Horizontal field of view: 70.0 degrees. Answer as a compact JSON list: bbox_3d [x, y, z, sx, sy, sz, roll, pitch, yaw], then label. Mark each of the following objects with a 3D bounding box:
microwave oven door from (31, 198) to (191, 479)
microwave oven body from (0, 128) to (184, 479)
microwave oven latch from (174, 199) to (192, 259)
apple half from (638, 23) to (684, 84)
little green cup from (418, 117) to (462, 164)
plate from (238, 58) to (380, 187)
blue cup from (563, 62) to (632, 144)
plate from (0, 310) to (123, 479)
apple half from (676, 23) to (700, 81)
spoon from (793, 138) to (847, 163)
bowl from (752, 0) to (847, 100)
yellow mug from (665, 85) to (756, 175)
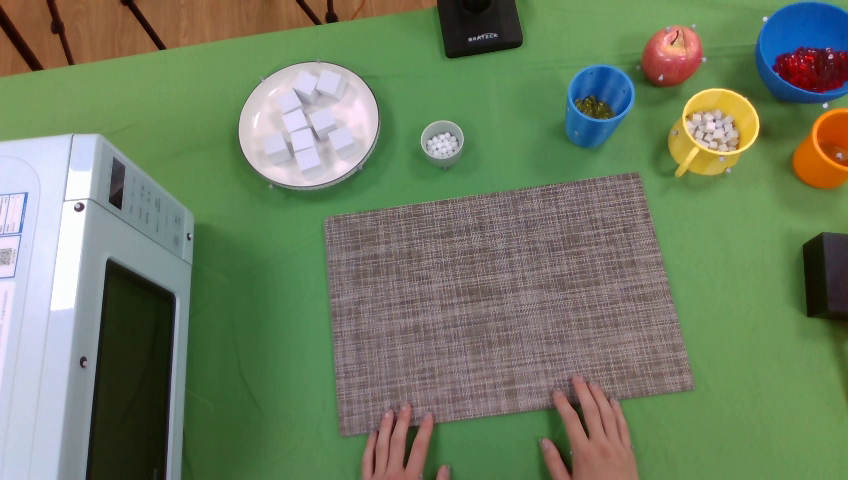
[{"bbox_3d":[-0.333,0.161,0.670,0.039,0.245,0.353,-6,71,3],"label":"microwave oven door"},{"bbox_3d":[-0.481,0.136,0.694,0.326,0.262,0.438,-5,72,2],"label":"microwave oven body"},{"bbox_3d":[-0.339,-0.014,0.834,0.030,0.030,0.078,-3,73,3],"label":"microwave oven latch"},{"bbox_3d":[0.335,-0.264,0.867,0.053,0.075,0.080,-4,75,7],"label":"apple half"},{"bbox_3d":[0.024,-0.140,0.868,0.061,0.039,0.061,-1,72,4],"label":"little green cup"},{"bbox_3d":[-0.166,-0.170,0.892,0.207,0.039,0.206,-1,72,4],"label":"plate"},{"bbox_3d":[0.230,-0.180,0.833,0.092,0.101,0.092,-1,73,4],"label":"blue cup"},{"bbox_3d":[-0.463,0.189,0.730,0.209,0.038,0.208,-1,72,3],"label":"plate"},{"bbox_3d":[0.374,-0.267,0.864,0.033,0.082,0.081,-3,71,7],"label":"apple half"},{"bbox_3d":[0.564,-0.107,0.760,0.041,0.192,0.022,-49,119,-11],"label":"spoon"},{"bbox_3d":[0.526,-0.252,0.846,0.151,0.077,0.150,-1,73,4],"label":"bowl"},{"bbox_3d":[0.380,-0.140,0.828,0.099,0.064,0.130,39,80,15],"label":"yellow mug"}]
